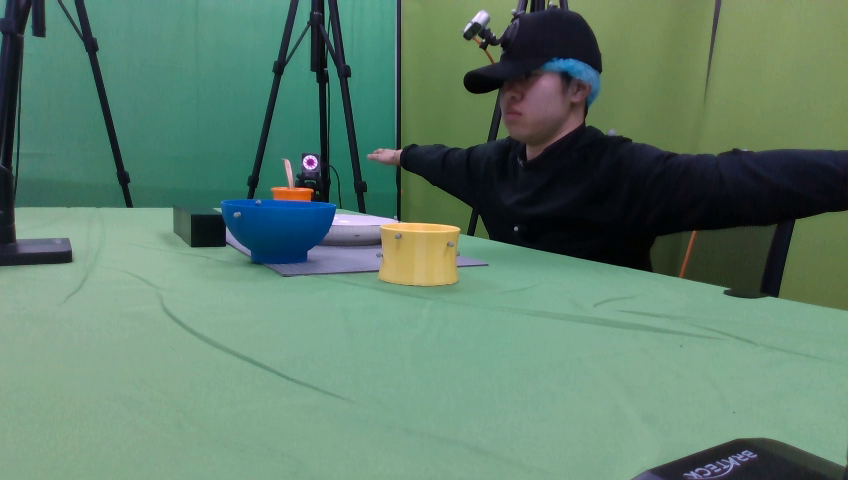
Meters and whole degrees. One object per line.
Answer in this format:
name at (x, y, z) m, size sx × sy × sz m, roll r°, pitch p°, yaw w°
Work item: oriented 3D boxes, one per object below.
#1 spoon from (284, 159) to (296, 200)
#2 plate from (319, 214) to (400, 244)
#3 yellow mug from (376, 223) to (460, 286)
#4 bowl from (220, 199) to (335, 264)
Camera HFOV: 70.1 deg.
spoon at (-0.302, -0.118, 1.370) m, size 0.042 × 0.193 × 0.021 m, roll 4°, pitch -38°, yaw -24°
plate at (-0.147, -0.020, 1.060) m, size 0.209 × 0.038 × 0.209 m, roll 3°, pitch 7°, yaw 0°
yellow mug at (-0.002, 0.014, 0.754) m, size 0.099 × 0.064 × 0.131 m, roll 5°, pitch 7°, yaw 20°
bowl at (-0.197, -0.012, 0.819) m, size 0.151 × 0.077 × 0.151 m, roll 3°, pitch 8°, yaw 0°
